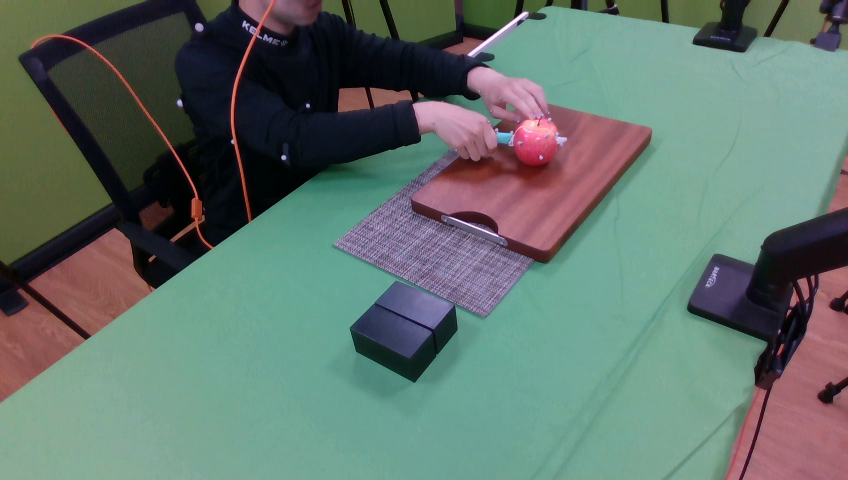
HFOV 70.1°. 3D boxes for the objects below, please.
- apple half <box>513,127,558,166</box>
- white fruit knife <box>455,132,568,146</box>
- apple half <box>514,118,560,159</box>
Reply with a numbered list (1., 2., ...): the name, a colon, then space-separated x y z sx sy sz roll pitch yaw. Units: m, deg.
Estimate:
1. apple half: 0.188 -0.154 1.038 0.081 0.081 0.033 9 44 19
2. white fruit knife: 0.149 -0.177 1.059 0.206 0.027 0.016 4 38 23
3. apple half: 0.202 -0.179 1.066 0.080 0.075 0.053 7 38 21
